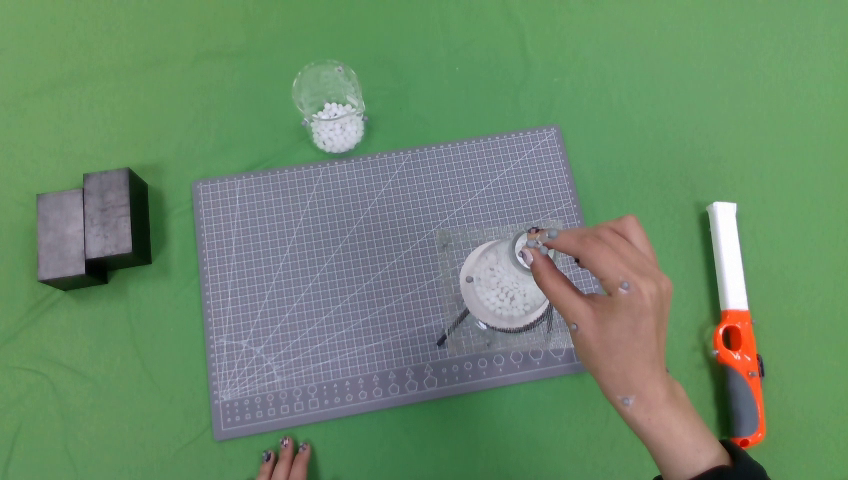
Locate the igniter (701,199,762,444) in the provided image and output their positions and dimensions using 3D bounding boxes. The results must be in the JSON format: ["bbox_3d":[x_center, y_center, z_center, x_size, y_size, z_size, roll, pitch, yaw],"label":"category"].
[{"bbox_3d":[0.346,0.086,0.685,0.057,0.025,0.275,4,74,-11],"label":"igniter"}]

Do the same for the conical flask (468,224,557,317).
[{"bbox_3d":[0.079,0.021,0.507,0.075,0.122,0.075,1,76,-2],"label":"conical flask"}]

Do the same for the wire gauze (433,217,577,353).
[{"bbox_3d":[0.075,0.041,0.563,0.125,0.011,0.121,-4,77,-5],"label":"wire gauze"}]

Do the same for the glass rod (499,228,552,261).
[{"bbox_3d":[0.073,0.006,0.462,0.008,0.200,0.008,0,84,-1],"label":"glass rod"}]

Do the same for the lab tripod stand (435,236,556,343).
[{"bbox_3d":[0.076,0.060,0.626,0.148,0.132,0.147,0,76,-1],"label":"lab tripod stand"}]

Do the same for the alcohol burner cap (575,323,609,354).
[{"bbox_3d":[0.187,0.106,0.664,0.034,0.048,0.033,0,74,-1],"label":"alcohol burner cap"}]

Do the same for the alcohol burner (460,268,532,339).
[{"bbox_3d":[0.077,0.064,0.636,0.078,0.119,0.077,0,75,1],"label":"alcohol burner"}]

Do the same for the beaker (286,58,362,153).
[{"bbox_3d":[-0.108,-0.149,0.699,0.084,0.100,0.074,25,75,5],"label":"beaker"}]
